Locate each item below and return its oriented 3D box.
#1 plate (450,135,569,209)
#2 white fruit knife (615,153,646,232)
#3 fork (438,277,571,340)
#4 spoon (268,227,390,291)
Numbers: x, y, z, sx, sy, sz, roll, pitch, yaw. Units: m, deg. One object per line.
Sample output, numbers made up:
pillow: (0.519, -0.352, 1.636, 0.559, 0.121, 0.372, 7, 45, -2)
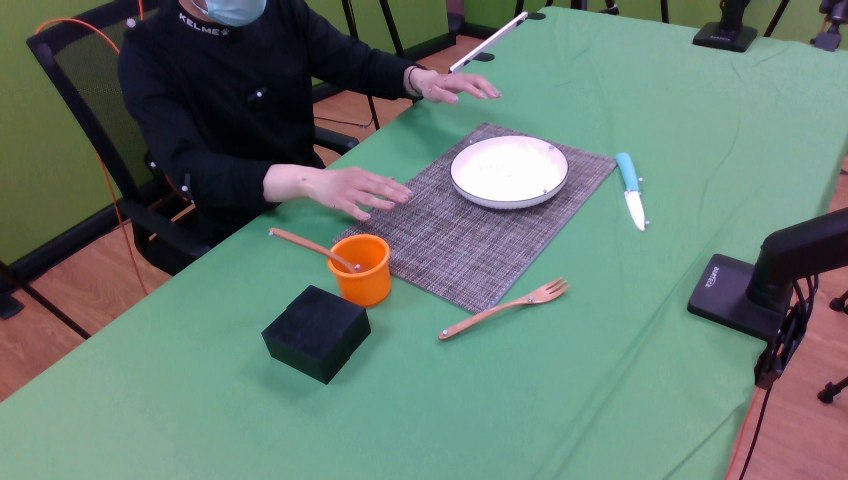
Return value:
plate: (0.149, -0.117, 1.065, 0.209, 0.038, 0.208, -3, 41, 3)
white fruit knife: (0.352, -0.084, 1.023, 0.027, 0.016, 0.206, -19, 40, 23)
fork: (0.113, 0.096, 0.843, 0.208, 0.019, 0.028, -19, 47, -16)
spoon: (-0.132, 0.025, 0.862, 0.021, 0.195, 0.041, -41, 31, 32)
